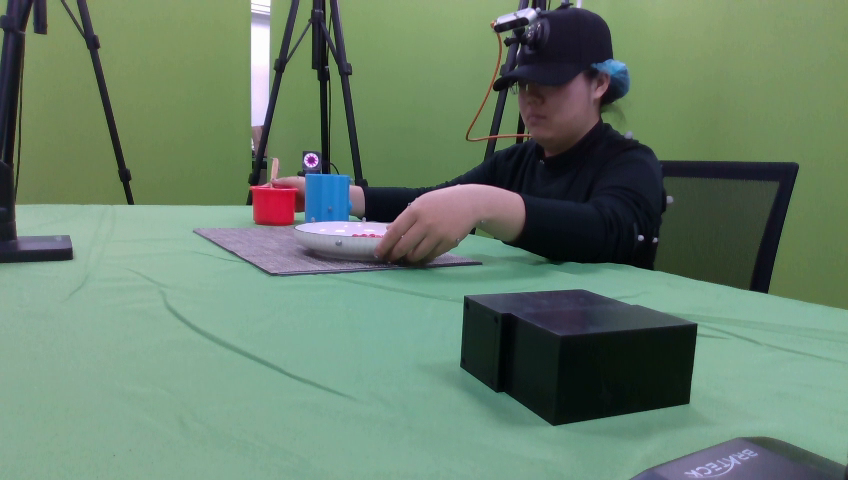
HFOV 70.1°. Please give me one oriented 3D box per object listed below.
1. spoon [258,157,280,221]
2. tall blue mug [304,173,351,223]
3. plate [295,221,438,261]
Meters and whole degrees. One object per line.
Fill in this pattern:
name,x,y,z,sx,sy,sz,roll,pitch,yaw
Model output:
spoon,-0.319,-0.110,1.275,0.042,0.021,0.193,1,52,-6
tall blue mug,-0.179,-0.062,1.062,0.078,0.108,0.106,-4,10,-38
plate,-0.083,0.001,0.885,0.208,0.039,0.207,3,7,0
